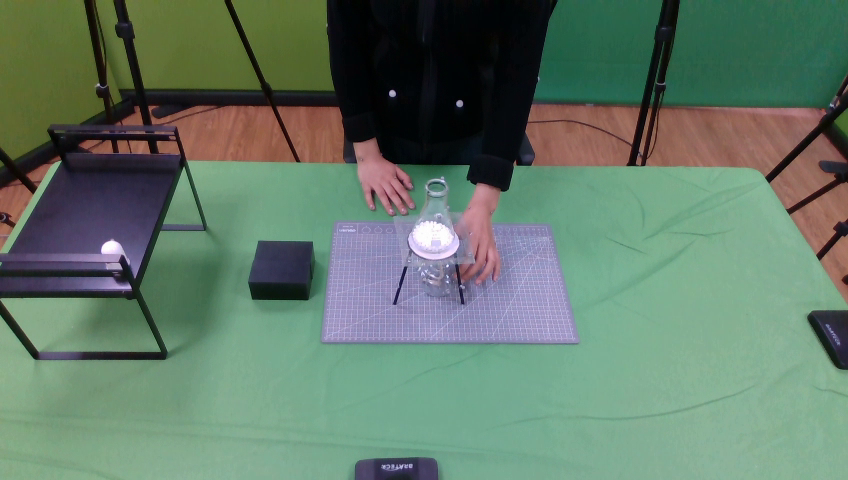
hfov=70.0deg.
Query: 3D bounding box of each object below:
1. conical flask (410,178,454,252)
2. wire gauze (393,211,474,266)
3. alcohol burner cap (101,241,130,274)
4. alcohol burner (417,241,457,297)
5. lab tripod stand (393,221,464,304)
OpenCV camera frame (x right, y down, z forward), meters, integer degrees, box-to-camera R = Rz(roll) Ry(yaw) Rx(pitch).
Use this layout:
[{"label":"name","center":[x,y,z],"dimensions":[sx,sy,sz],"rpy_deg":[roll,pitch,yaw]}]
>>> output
[{"label":"conical flask","center":[0.016,-0.043,0.987],"dimensions":[0.075,0.122,0.075],"rpy_deg":[2,47,-2]},{"label":"wire gauze","center":[0.015,-0.002,1.029],"dimensions":[0.125,0.011,0.120],"rpy_deg":[-6,45,-6]},{"label":"alcohol burner cap","center":[-0.449,0.022,0.878],"dimensions":[0.034,0.048,0.033],"rpy_deg":[3,45,-2]},{"label":"alcohol burner","center":[0.026,0.046,1.089],"dimensions":[0.078,0.120,0.077],"rpy_deg":[1,46,-1]},{"label":"lab tripod stand","center":[0.009,0.045,1.074],"dimensions":[0.148,0.132,0.147],"rpy_deg":[2,48,-2]}]
